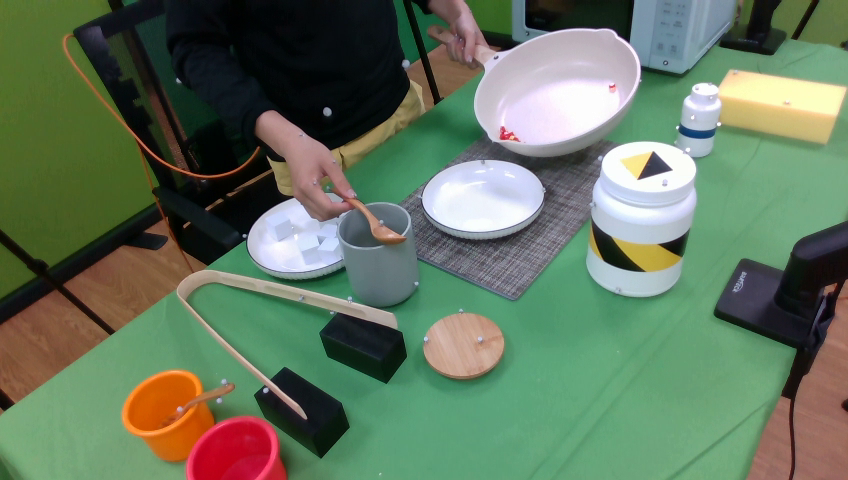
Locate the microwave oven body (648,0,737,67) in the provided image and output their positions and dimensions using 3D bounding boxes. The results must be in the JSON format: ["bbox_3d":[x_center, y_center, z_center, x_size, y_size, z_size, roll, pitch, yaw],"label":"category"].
[{"bbox_3d":[0.475,-0.602,1.411,0.438,0.261,0.327,23,50,32],"label":"microwave oven body"}]

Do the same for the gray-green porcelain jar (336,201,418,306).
[{"bbox_3d":[-0.064,0.024,0.872,0.106,0.127,0.105,-4,41,4],"label":"gray-green porcelain jar"}]

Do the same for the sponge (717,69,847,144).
[{"bbox_3d":[0.663,-0.256,1.142,0.205,0.061,0.118,19,47,28],"label":"sponge"}]

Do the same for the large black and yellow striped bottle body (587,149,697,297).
[{"bbox_3d":[0.298,-0.026,0.835,0.131,0.185,0.130,-4,41,4],"label":"large black and yellow striped bottle body"}]

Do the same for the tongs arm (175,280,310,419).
[{"bbox_3d":[-0.254,0.133,0.801,0.028,0.028,0.384,-41,41,-23],"label":"tongs arm"}]

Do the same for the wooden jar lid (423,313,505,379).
[{"bbox_3d":[0.053,0.142,0.800,0.108,0.021,0.108,-5,39,4],"label":"wooden jar lid"}]

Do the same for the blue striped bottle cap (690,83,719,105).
[{"bbox_3d":[0.481,-0.251,1.038,0.044,0.021,0.044,-5,40,5],"label":"blue striped bottle cap"}]

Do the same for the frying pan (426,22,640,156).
[{"bbox_3d":[0.171,-0.319,1.141,0.307,0.103,0.484,-42,58,-11],"label":"frying pan"}]

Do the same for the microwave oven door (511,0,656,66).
[{"bbox_3d":[0.350,-0.539,1.349,0.353,0.245,0.039,24,50,31],"label":"microwave oven door"}]

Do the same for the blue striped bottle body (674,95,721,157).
[{"bbox_3d":[0.486,-0.213,1.071,0.063,0.121,0.063,-4,41,4],"label":"blue striped bottle body"}]

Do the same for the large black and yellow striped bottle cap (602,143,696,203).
[{"bbox_3d":[0.289,-0.088,0.778,0.115,0.019,0.114,-5,40,4],"label":"large black and yellow striped bottle cap"}]

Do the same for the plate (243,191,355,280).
[{"bbox_3d":[-0.188,-0.005,0.992,0.207,0.039,0.206,-4,41,4],"label":"plate"}]

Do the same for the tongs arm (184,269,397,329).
[{"bbox_3d":[-0.203,0.085,0.847,0.382,0.027,0.051,11,45,34],"label":"tongs arm"}]

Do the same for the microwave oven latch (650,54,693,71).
[{"bbox_3d":[0.531,-0.386,1.301,0.078,0.029,0.030,26,51,33],"label":"microwave oven latch"}]

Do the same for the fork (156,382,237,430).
[{"bbox_3d":[-0.262,0.189,0.690,0.018,0.206,0.028,49,43,-7],"label":"fork"}]

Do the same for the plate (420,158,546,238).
[{"bbox_3d":[0.099,-0.067,1.017,0.209,0.038,0.208,-4,40,4],"label":"plate"}]

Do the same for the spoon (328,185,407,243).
[{"bbox_3d":[-0.084,-0.040,0.836,0.042,0.021,0.192,-5,32,-36],"label":"spoon"}]
